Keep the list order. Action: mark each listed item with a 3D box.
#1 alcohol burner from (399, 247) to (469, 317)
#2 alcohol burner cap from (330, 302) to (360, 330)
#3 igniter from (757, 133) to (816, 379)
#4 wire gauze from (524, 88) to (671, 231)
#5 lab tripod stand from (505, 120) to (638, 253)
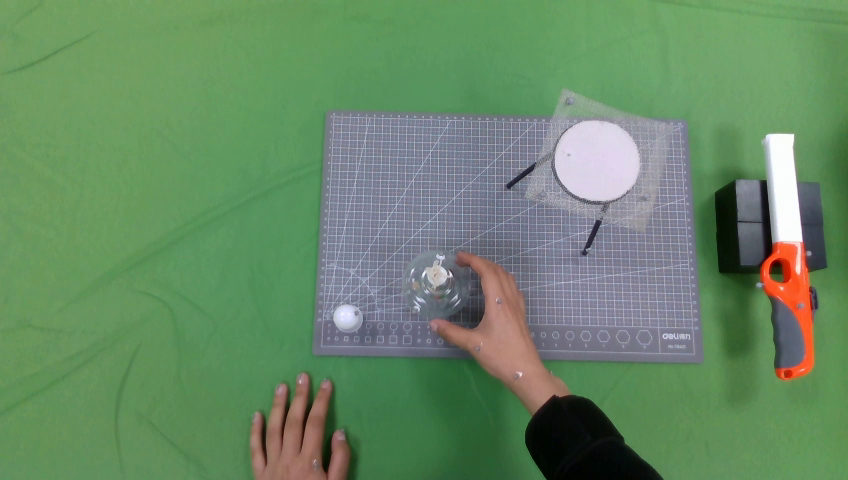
[{"bbox_3d":[0.011,0.043,0.654,0.078,0.119,0.077,0,80,-1],"label":"alcohol burner"},{"bbox_3d":[-0.090,0.084,0.679,0.034,0.048,0.033,1,79,-2],"label":"alcohol burner cap"},{"bbox_3d":[0.398,0.013,0.671,0.057,0.025,0.275,2,78,6],"label":"igniter"},{"bbox_3d":[0.175,-0.081,0.605,0.121,0.011,0.124,20,78,2],"label":"wire gauze"},{"bbox_3d":[0.172,-0.070,0.671,0.148,0.132,0.147,0,77,-1],"label":"lab tripod stand"}]
